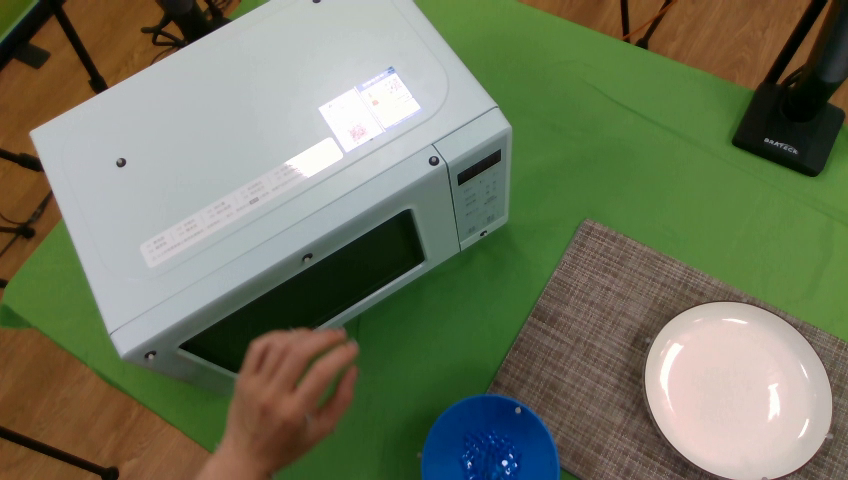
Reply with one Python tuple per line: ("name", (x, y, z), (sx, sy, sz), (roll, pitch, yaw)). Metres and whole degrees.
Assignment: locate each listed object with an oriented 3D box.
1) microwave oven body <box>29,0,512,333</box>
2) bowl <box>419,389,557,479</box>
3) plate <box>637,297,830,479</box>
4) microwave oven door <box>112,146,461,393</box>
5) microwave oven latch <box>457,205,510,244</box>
("microwave oven body", (-0.163, -0.086, 0.748), (0.442, 0.262, 0.323), (-32, 69, -6))
("bowl", (0.073, 0.251, 0.691), (0.151, 0.077, 0.150), (-2, 68, 6))
("plate", (0.355, 0.171, 0.709), (0.207, 0.039, 0.206), (-2, 68, 5))
("microwave oven door", (-0.123, 0.046, 0.685), (0.356, 0.246, 0.039), (-32, 67, -6))
("microwave oven latch", (0.076, -0.028, 0.803), (0.079, 0.030, 0.030), (-30, 69, -5))
